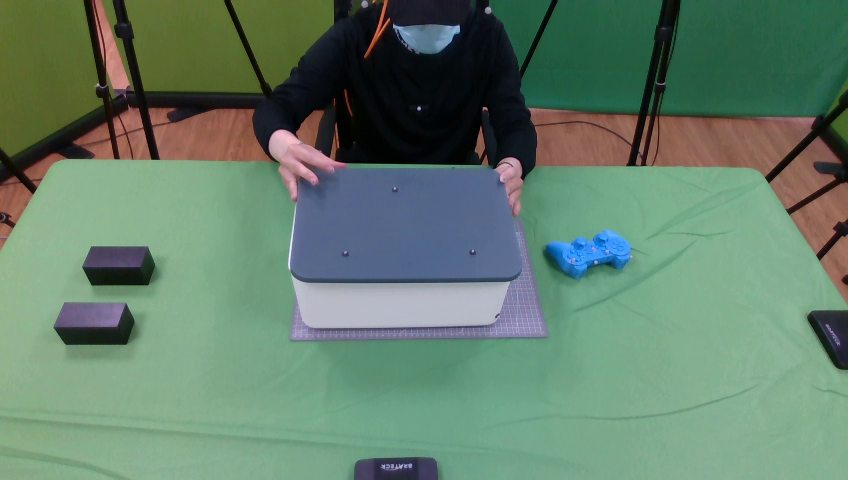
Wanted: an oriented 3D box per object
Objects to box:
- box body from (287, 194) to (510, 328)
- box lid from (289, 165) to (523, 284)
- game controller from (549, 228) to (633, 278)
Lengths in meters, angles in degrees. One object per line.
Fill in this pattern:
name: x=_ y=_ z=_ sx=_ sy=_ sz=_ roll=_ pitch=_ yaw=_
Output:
box body: x=-0.040 y=0.015 z=1.075 sx=0.364 sy=0.161 sz=0.252 roll=-1 pitch=47 yaw=-4
box lid: x=-0.028 y=-0.034 z=1.013 sx=0.372 sy=0.015 sz=0.261 roll=0 pitch=48 yaw=-5
game controller: x=0.331 y=0.016 z=1.182 sx=0.155 sy=0.052 sz=0.096 roll=-12 pitch=52 yaw=-13
